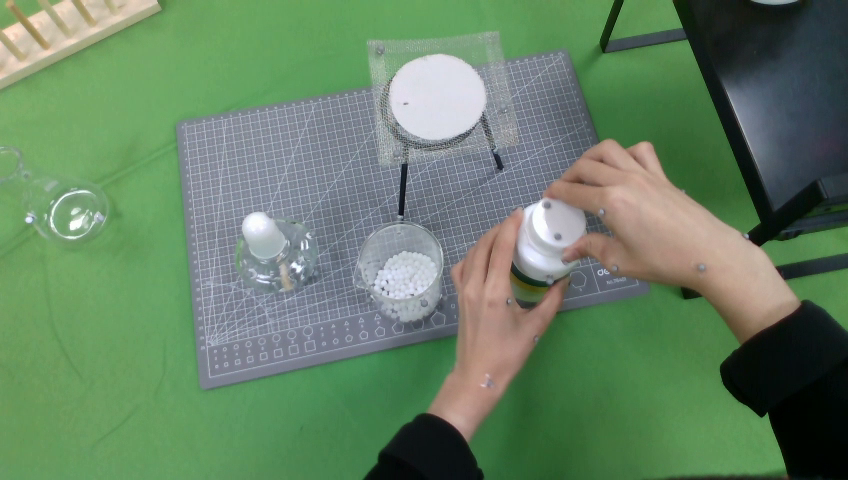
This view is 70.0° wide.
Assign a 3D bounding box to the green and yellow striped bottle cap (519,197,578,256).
[{"bbox_3d":[0.099,-0.011,0.478,0.046,0.020,0.045,10,64,-20],"label":"green and yellow striped bottle cap"}]

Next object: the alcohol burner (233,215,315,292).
[{"bbox_3d":[-0.144,0.006,0.567,0.078,0.120,0.077,0,69,-1],"label":"alcohol burner"}]

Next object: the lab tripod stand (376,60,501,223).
[{"bbox_3d":[0.008,-0.100,0.592,0.148,0.132,0.147,0,69,0],"label":"lab tripod stand"}]

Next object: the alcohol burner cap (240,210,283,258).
[{"bbox_3d":[-0.145,-0.008,0.533,0.034,0.048,0.033,1,63,-1],"label":"alcohol burner cap"}]

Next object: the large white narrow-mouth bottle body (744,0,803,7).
[{"bbox_3d":[0.290,-0.269,0.429,0.102,0.196,0.101,0,68,1],"label":"large white narrow-mouth bottle body"}]

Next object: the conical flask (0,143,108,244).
[{"bbox_3d":[-0.372,-0.049,0.586,0.075,0.122,0.075,0,70,1],"label":"conical flask"}]

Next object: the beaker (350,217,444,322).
[{"bbox_3d":[-0.023,0.034,0.564,0.084,0.101,0.073,-24,71,-6],"label":"beaker"}]

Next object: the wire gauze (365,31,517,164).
[{"bbox_3d":[0.014,-0.129,0.530,0.121,0.011,0.124,-6,71,-3],"label":"wire gauze"}]

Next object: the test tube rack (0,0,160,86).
[{"bbox_3d":[-0.437,-0.258,0.679,0.242,0.086,0.066,-31,73,-10],"label":"test tube rack"}]

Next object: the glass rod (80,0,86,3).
[{"bbox_3d":[-0.399,-0.322,0.631,0.008,0.201,0.008,1,68,-3],"label":"glass rod"}]

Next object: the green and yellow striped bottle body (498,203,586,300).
[{"bbox_3d":[0.102,0.008,0.531,0.063,0.120,0.062,0,69,0],"label":"green and yellow striped bottle body"}]
